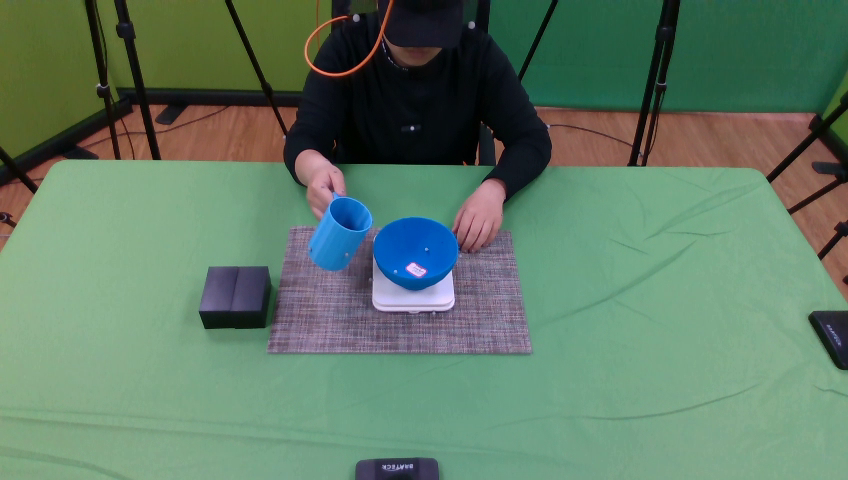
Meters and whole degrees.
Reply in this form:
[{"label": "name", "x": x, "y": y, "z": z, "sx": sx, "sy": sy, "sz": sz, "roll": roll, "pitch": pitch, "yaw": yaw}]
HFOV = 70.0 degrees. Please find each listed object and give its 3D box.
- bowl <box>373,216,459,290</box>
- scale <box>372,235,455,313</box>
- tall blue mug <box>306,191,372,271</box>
[{"label": "bowl", "x": -0.015, "y": 0.036, "z": 1.075, "sx": 0.151, "sy": 0.077, "sz": 0.150, "roll": 1, "pitch": 46, "yaw": -1}, {"label": "scale", "x": -0.022, "y": 0.051, "z": 1.134, "sx": 0.149, "sy": 0.032, "sz": 0.199, "roll": 1, "pitch": 46, "yaw": -4}, {"label": "tall blue mug", "x": -0.153, "y": -0.022, "z": 1.014, "sx": 0.107, "sy": 0.108, "sz": 0.078, "roll": 47, "pitch": 42, "yaw": 12}]
